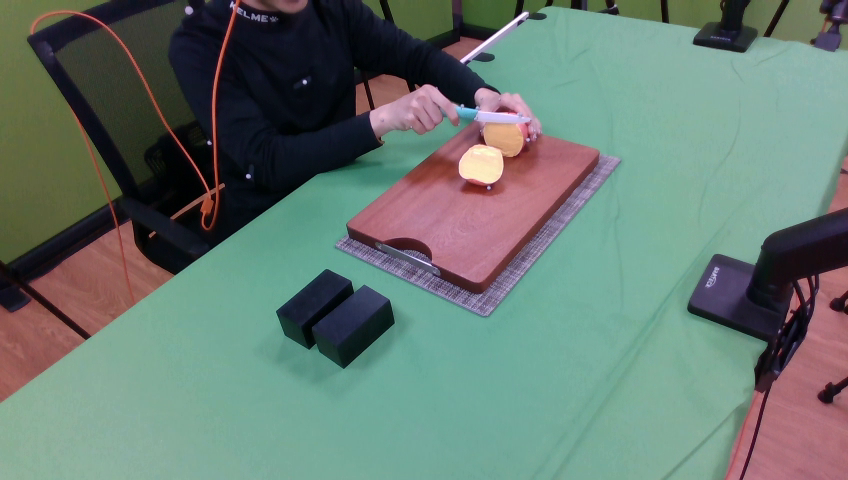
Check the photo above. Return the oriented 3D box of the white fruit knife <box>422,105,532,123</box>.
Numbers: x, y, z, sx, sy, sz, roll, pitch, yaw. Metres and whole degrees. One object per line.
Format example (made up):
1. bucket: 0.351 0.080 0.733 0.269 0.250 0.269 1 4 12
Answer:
1. white fruit knife: 0.089 -0.220 1.062 0.206 0.027 0.016 9 53 22

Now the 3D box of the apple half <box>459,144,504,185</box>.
1. apple half: 0.102 -0.125 1.041 0.081 0.033 0.081 -3 64 8

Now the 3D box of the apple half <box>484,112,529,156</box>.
1. apple half: 0.154 -0.195 1.090 0.080 0.075 0.053 13 41 26
